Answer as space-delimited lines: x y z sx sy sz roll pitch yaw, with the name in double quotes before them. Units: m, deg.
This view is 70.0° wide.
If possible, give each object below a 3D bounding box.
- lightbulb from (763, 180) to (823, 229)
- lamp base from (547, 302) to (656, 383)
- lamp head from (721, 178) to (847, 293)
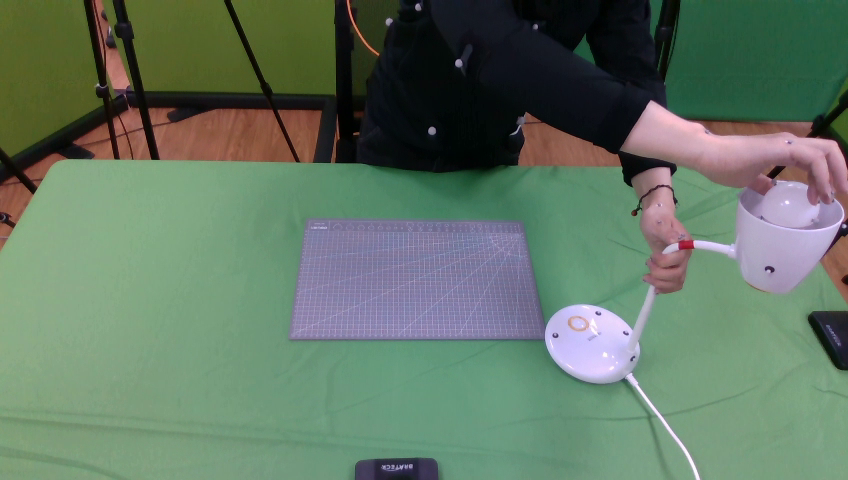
"lightbulb" 0.426 -0.020 0.712 0.059 0.108 0.059 -2 32 1
"lamp base" 0.304 0.127 0.982 0.160 0.181 0.178 -33 59 -29
"lamp head" 0.422 0.002 0.726 0.112 0.123 0.111 0 38 0
